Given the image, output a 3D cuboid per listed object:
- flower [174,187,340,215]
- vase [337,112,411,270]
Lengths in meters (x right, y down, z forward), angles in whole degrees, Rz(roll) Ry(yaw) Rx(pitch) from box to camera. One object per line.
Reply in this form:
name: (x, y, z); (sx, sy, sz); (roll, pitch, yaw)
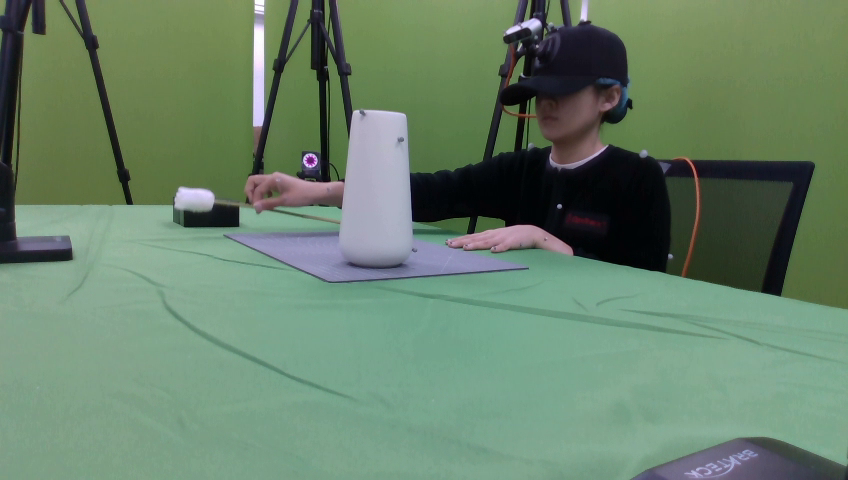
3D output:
flower: (-0.256, -0.058, 1.087); (0.364, 0.038, 0.044); (5, 5, -32)
vase: (-0.064, -0.064, 0.790); (0.098, 0.200, 0.098); (2, 7, 0)
